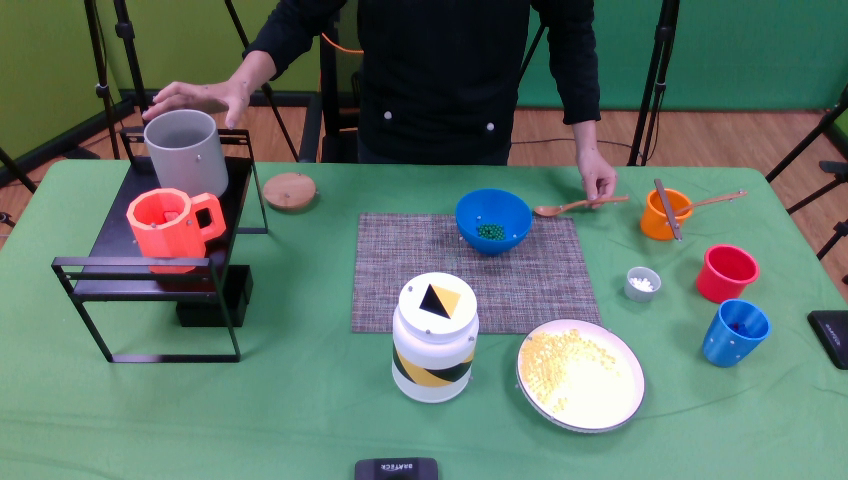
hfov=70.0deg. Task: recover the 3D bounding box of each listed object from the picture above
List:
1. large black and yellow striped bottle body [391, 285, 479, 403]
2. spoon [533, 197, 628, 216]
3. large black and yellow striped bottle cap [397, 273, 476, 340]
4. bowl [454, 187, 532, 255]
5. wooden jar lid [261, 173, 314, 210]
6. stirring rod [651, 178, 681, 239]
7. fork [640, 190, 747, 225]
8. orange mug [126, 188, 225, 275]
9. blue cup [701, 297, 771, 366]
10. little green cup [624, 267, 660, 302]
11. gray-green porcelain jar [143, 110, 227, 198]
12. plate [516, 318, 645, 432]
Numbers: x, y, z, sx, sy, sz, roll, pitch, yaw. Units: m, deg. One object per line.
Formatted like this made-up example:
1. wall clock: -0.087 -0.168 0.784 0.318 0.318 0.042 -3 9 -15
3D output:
1. large black and yellow striped bottle body: 0.015 0.153 0.938 0.131 0.185 0.130 2 46 -2
2. spoon: 0.325 -0.074 1.260 0.193 0.022 0.041 -10 25 13
3. large black and yellow striped bottle cap: 0.018 0.094 0.878 0.115 0.019 0.114 3 46 -3
4. bowl: 0.131 -0.025 1.187 0.151 0.077 0.150 2 46 -2
5. wooden jar lid: -0.286 -0.101 1.273 0.108 0.021 0.107 3 45 -3
6. stirring rod: 0.479 -0.065 1.204 0.014 0.006 0.175 3 46 -4
7. fork: 0.533 -0.065 1.211 0.207 0.019 0.028 -22 28 39
8. orange mug: -0.357 -0.020 0.885 0.126 0.101 0.083 -29 54 -23
9. blue cup: 0.519 0.162 1.025 0.093 0.101 0.092 3 45 -3
10. little green cup: 0.406 0.084 1.135 0.061 0.039 0.061 3 45 -3
11. gray-green porcelain jar: -0.375 -0.126 0.967 0.106 0.127 0.105 2 46 -2
12. plate: 0.253 0.221 0.992 0.209 0.038 0.208 2 46 -2
